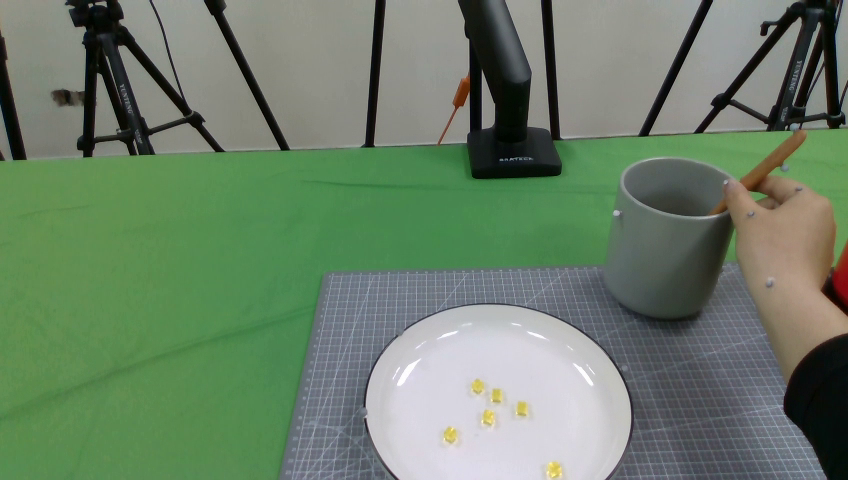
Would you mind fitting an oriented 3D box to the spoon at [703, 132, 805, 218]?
[{"bbox_3d":[0.256,-0.019,0.535,0.022,0.194,0.041,15,42,-16],"label":"spoon"}]

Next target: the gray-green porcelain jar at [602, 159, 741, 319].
[{"bbox_3d":[0.227,0.003,0.575,0.106,0.127,0.105,-2,37,2],"label":"gray-green porcelain jar"}]

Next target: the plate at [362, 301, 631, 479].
[{"bbox_3d":[0.056,0.132,0.486,0.208,0.039,0.205,-1,37,1],"label":"plate"}]
